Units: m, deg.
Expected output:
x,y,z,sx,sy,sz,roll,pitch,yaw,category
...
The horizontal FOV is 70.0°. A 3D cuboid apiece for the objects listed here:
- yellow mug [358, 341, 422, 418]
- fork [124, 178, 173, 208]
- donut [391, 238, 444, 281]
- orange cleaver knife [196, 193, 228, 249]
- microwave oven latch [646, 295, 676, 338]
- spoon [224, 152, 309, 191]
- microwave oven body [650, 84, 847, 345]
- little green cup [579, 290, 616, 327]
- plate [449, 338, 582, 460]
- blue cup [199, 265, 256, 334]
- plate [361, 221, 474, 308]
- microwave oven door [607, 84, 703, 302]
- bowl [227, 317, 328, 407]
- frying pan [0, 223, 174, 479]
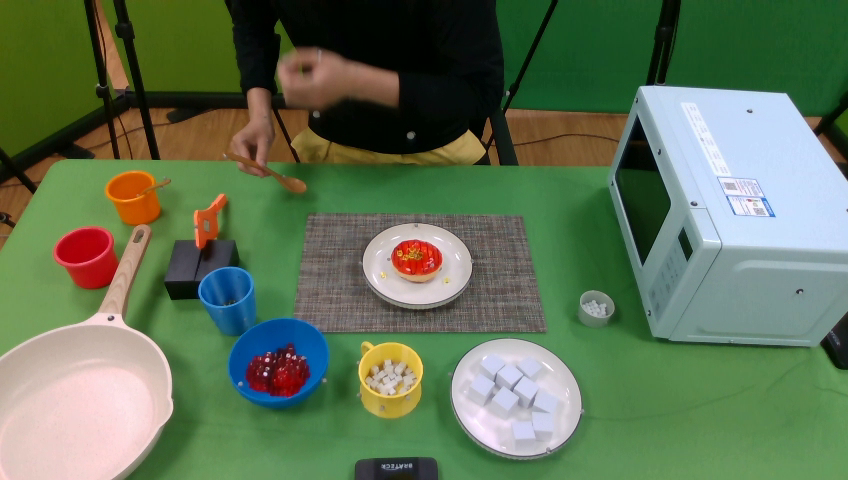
x,y,z,sx,sy,sz,roll,pitch,yaw,category
-0.063,0.210,0.961,0.100,0.064,0.130,-29,54,-28,yellow mug
-0.525,-0.090,1.153,0.207,0.019,0.028,-18,27,45,fork
-0.012,0.035,1.128,0.099,0.048,0.098,3,43,-3,donut
-0.406,-0.041,1.163,0.012,0.077,0.210,0,18,-4,orange cleaver knife
0.413,0.133,1.060,0.030,0.029,0.078,4,46,1,microwave oven latch
-0.301,-0.135,1.170,0.021,0.195,0.041,-37,55,21,spoon
0.569,-0.054,1.116,0.326,0.261,0.439,2,46,-1,microwave oven body
0.308,0.124,1.086,0.061,0.039,0.061,2,45,-1,little green cup
0.141,0.251,0.955,0.208,0.039,0.206,2,46,-2,plate
-0.321,0.106,1.015,0.093,0.101,0.092,2,49,-2,blue cup
-0.011,0.049,1.130,0.209,0.038,0.208,2,46,-2,plate
0.424,-0.096,1.137,0.039,0.245,0.353,3,46,-1,microwave oven door
-0.222,0.203,0.947,0.151,0.077,0.150,2,46,-2,bowl
-0.505,0.169,0.941,0.307,0.103,0.485,5,54,-1,frying pan
